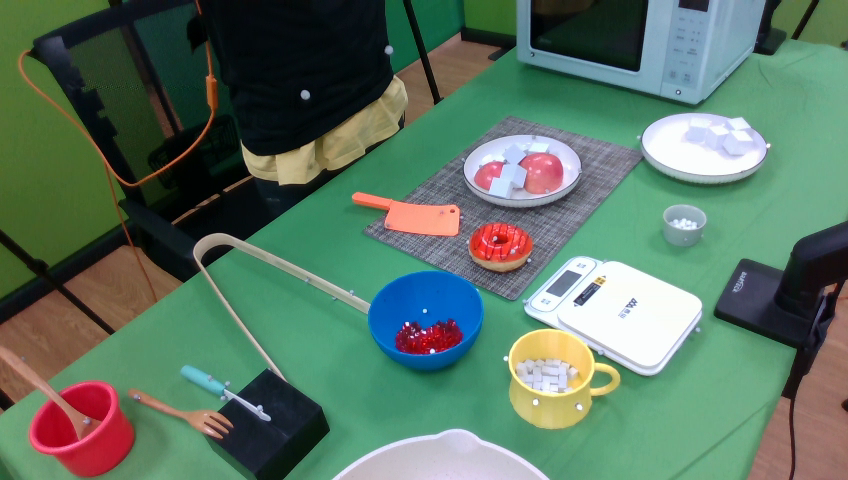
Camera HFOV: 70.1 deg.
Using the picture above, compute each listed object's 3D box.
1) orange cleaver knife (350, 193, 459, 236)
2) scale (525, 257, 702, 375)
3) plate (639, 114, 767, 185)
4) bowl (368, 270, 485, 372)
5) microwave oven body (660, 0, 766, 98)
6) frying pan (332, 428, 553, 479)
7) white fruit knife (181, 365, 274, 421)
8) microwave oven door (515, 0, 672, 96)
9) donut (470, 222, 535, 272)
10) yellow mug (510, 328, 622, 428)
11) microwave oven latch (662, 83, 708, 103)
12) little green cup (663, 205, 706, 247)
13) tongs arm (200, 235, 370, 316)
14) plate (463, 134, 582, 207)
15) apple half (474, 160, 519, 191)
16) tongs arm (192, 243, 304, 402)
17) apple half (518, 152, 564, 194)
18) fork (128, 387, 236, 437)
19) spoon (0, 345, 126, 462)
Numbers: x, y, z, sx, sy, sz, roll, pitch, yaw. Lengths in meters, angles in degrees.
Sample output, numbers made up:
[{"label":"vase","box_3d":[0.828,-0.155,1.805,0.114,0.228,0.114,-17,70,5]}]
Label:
[{"label":"orange cleaver knife","box_3d":[-0.037,-0.044,1.028,0.210,0.012,0.077,10,49,17]},{"label":"scale","box_3d":[0.254,0.091,0.821,0.199,0.032,0.149,28,51,35]},{"label":"plate","box_3d":[0.489,-0.157,1.074,0.207,0.039,0.206,-4,40,4]},{"label":"bowl","box_3d":[0.007,0.118,0.791,0.151,0.077,0.150,-5,40,4]},{"label":"microwave oven body","box_3d":[0.472,-0.513,1.317,0.438,0.261,0.327,26,51,34]},{"label":"frying pan","box_3d":[-0.089,0.306,0.564,0.487,0.103,0.306,10,41,7]},{"label":"white fruit knife","box_3d":[-0.245,0.187,0.747,0.205,0.027,0.016,9,42,40]},{"label":"microwave oven door","box_3d":[0.343,-0.454,1.259,0.353,0.245,0.039,26,51,33]},{"label":"donut","box_3d":[0.119,0.009,0.923,0.099,0.048,0.098,-4,38,3]},{"label":"yellow mug","box_3d":[0.168,0.164,0.722,0.130,0.064,0.099,0,40,8]},{"label":"microwave oven latch","box_3d":[0.517,-0.296,1.204,0.078,0.029,0.030,28,52,35]},{"label":"little green cup","box_3d":[0.396,-0.020,0.926,0.061,0.039,0.061,-4,40,4]},{"label":"tongs arm","box_3d":[-0.209,0.062,0.924,0.381,0.026,0.051,23,52,33]},{"label":"plate","box_3d":[0.173,-0.119,1.070,0.209,0.038,0.208,-4,40,4]},{"label":"apple half","box_3d":[0.130,-0.120,1.068,0.081,0.033,0.081,-3,36,3]},{"label":"tongs arm","box_3d":[-0.267,0.108,0.883,0.028,0.028,0.384,-35,46,-19]},{"label":"apple half","box_3d":[0.204,-0.124,1.048,0.075,0.053,0.080,-6,41,-3]},{"label":"fork","box_3d":[-0.305,0.207,0.744,0.206,0.019,0.028,3,41,36]},{"label":"spoon","box_3d":[-0.434,0.192,0.720,0.194,0.021,0.042,47,54,-7]}]
